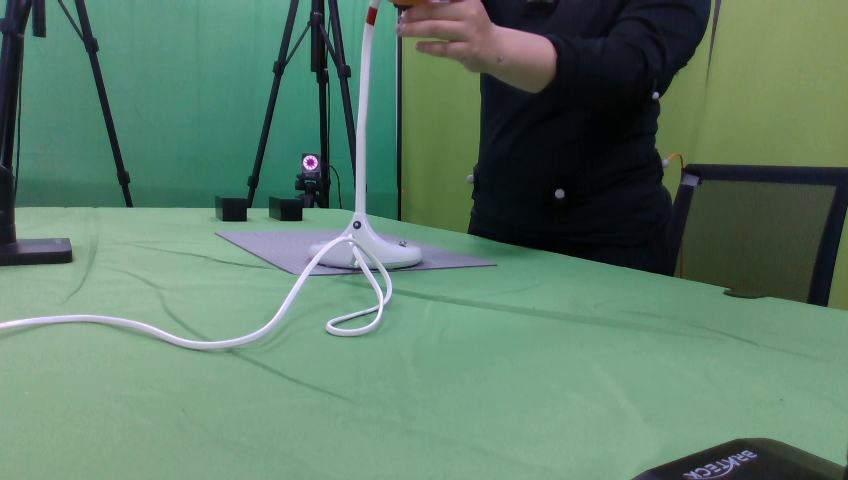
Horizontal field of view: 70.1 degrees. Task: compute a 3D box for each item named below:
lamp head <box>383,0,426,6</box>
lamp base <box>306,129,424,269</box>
[{"bbox_3d":[-0.024,-0.325,0.671,0.112,0.123,0.112,4,3,0],"label":"lamp head"},{"bbox_3d":[-0.077,-0.057,0.810,0.161,0.180,0.179,2,10,-4],"label":"lamp base"}]
